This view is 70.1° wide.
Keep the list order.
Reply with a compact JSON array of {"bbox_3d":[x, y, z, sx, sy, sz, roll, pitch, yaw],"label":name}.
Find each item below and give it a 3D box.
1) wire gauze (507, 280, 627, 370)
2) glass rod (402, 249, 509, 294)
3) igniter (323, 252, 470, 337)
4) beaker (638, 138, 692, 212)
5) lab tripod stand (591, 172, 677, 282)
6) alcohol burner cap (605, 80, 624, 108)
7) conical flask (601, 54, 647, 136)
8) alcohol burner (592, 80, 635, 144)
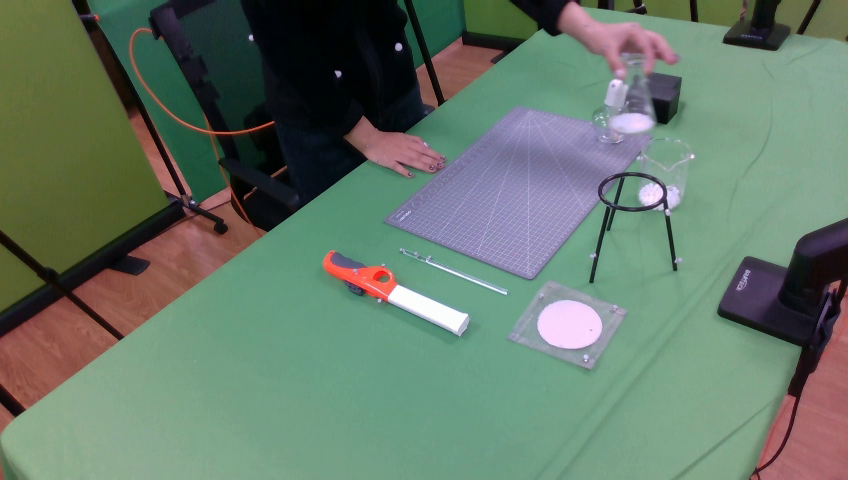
[{"bbox_3d":[0.196,0.114,0.823,0.120,0.011,0.125,20,50,31],"label":"wire gauze"},{"bbox_3d":[0.045,0.046,0.931,0.198,0.008,0.008,20,49,31],"label":"glass rod"},{"bbox_3d":[-0.052,0.075,0.901,0.274,0.025,0.057,22,60,32],"label":"igniter"},{"bbox_3d":[0.383,-0.100,0.970,0.074,0.101,0.084,2,42,14],"label":"beaker"},{"bbox_3d":[0.292,-0.022,0.867,0.148,0.132,0.147,-7,39,6],"label":"lab tripod stand"},{"bbox_3d":[0.350,-0.268,1.102,0.034,0.048,0.033,-2,45,3],"label":"alcohol burner cap"},{"bbox_3d":[0.329,-0.240,0.992,0.075,0.122,0.075,-7,37,6],"label":"conical flask"},{"bbox_3d":[0.353,-0.242,1.126,0.078,0.119,0.077,-5,38,5],"label":"alcohol burner"}]
